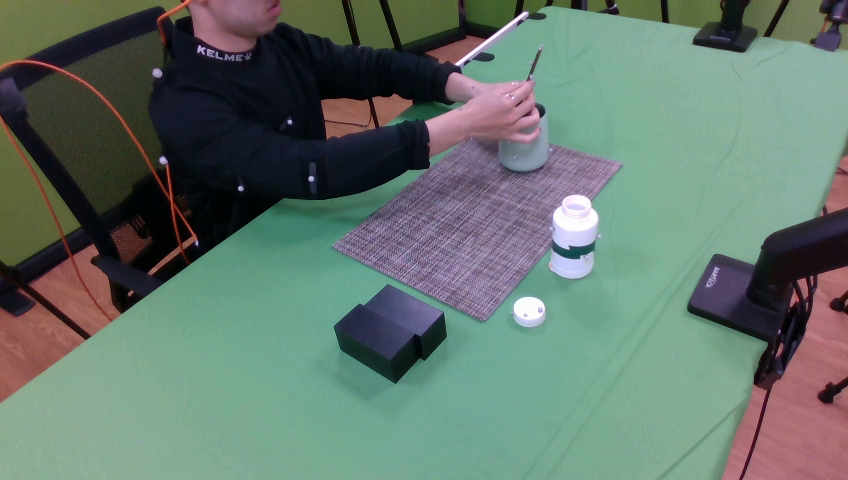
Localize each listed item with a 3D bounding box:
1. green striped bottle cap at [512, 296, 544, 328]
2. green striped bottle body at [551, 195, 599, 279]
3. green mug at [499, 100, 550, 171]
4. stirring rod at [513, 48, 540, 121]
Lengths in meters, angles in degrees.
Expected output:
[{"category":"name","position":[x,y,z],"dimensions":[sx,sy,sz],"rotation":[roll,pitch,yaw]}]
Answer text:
[{"category":"green striped bottle cap","position":[0.144,0.099,0.837],"dimensions":[0.044,0.020,0.044],"rotation":[-1,43,2]},{"category":"green striped bottle body","position":[0.217,-0.006,0.870],"dimensions":[0.063,0.120,0.063],"rotation":[-4,41,4]},{"category":"green mug","position":[0.183,-0.197,1.101],"dimensions":[0.092,0.105,0.125],"rotation":[0,41,9]},{"category":"stirring rod","position":[0.170,-0.250,1.034],"dimensions":[0.006,0.176,0.014],"rotation":[23,50,7]}]
